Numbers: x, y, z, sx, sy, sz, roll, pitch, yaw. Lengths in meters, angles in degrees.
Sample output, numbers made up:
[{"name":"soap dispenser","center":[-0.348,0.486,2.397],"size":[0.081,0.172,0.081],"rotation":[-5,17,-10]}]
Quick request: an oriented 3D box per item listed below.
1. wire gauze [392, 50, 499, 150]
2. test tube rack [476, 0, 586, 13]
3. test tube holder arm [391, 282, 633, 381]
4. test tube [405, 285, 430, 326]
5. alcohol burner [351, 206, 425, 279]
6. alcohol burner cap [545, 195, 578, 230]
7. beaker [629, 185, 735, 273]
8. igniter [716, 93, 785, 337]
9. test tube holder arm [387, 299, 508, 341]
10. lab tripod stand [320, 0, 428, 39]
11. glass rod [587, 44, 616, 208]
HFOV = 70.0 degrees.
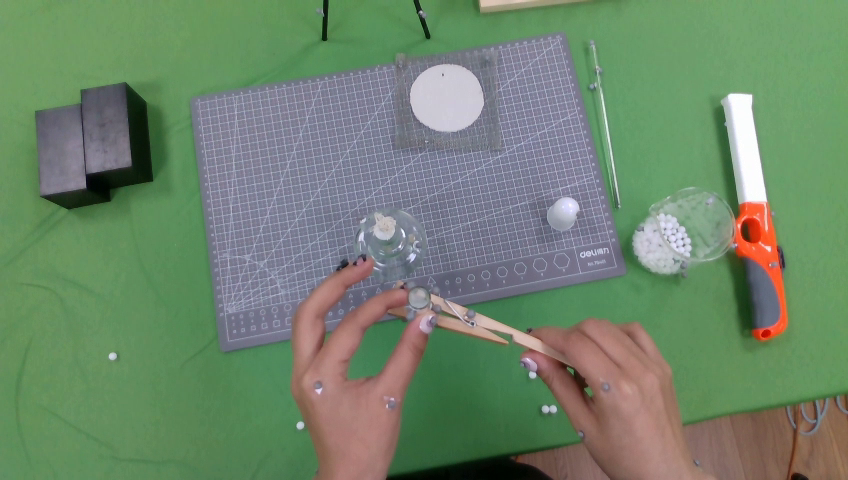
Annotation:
[{"name":"wire gauze","center":[0.025,-0.165,0.707],"size":[0.125,0.011,0.121],"rotation":[0,79,0]},{"name":"test tube rack","center":[0.181,-0.331,0.704],"size":[0.242,0.085,0.066],"rotation":[-7,78,-1]},{"name":"test tube holder arm","center":[0.062,0.065,0.427],"size":[0.178,0.015,0.013],"rotation":[19,86,1]},{"name":"test tube","center":[-0.004,0.051,0.449],"size":[0.017,0.151,0.017],"rotation":[0,78,0]},{"name":"alcohol burner","center":[-0.038,-0.001,0.620],"size":[0.078,0.119,0.077],"rotation":[0,77,2]},{"name":"alcohol burner cap","center":[0.152,-0.033,0.661],"size":[0.034,0.048,0.033],"rotation":[0,78,1]},{"name":"beaker","center":[0.258,-0.008,0.630],"size":[0.084,0.101,0.074],"rotation":[21,78,6]},{"name":"igniter","center":[0.360,-0.032,0.670],"size":[0.057,0.025,0.275],"rotation":[-1,78,-10]},{"name":"test tube holder arm","center":[0.017,0.057,0.427],"size":[0.088,0.015,0.010],"rotation":[14,86,0]},{"name":"lab tripod stand","center":[-0.062,-0.291,0.672],"size":[0.148,0.132,0.148],"rotation":[0,80,0]},{"name":"glass rod","center":[0.205,-0.134,0.702],"size":[0.008,0.008,0.199],"rotation":[-5,81,-1]}]
